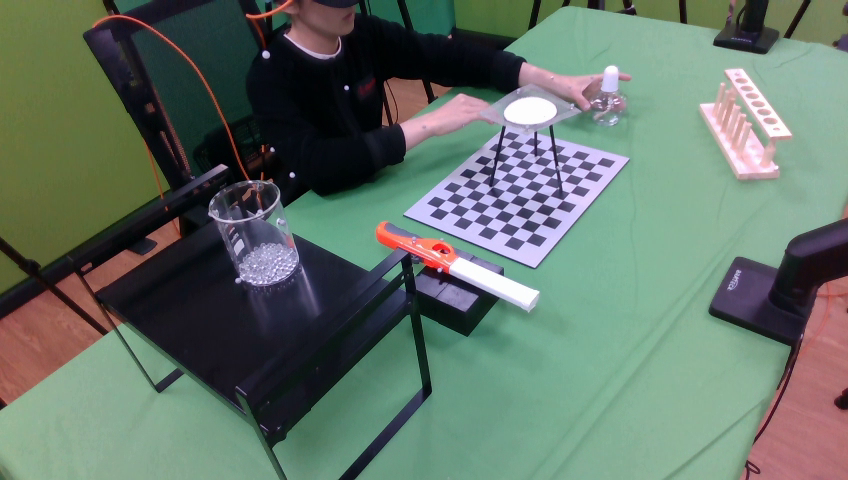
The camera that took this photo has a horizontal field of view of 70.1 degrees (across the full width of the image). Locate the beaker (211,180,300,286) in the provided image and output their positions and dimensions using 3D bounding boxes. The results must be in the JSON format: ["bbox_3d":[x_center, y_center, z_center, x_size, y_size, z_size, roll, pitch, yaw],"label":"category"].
[{"bbox_3d":[-0.183,-0.007,0.674,0.074,0.101,0.083,-1,40,7],"label":"beaker"}]

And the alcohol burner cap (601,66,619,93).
[{"bbox_3d":[0.361,-0.312,1.166,0.034,0.048,0.033,-3,38,3],"label":"alcohol burner cap"}]

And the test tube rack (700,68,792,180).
[{"bbox_3d":[0.572,-0.215,1.089,0.066,0.085,0.241,-3,41,7],"label":"test tube rack"}]

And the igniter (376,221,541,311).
[{"bbox_3d":[0.037,0.031,0.858,0.274,0.025,0.057,24,46,29],"label":"igniter"}]

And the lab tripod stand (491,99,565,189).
[{"bbox_3d":[0.184,-0.163,1.046,0.148,0.132,0.147,-5,42,5],"label":"lab tripod stand"}]

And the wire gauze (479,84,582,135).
[{"bbox_3d":[0.176,-0.216,1.006,0.125,0.011,0.120,-29,46,-22],"label":"wire gauze"}]

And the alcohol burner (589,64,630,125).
[{"bbox_3d":[0.364,-0.287,1.184,0.078,0.119,0.077,-4,39,4],"label":"alcohol burner"}]
